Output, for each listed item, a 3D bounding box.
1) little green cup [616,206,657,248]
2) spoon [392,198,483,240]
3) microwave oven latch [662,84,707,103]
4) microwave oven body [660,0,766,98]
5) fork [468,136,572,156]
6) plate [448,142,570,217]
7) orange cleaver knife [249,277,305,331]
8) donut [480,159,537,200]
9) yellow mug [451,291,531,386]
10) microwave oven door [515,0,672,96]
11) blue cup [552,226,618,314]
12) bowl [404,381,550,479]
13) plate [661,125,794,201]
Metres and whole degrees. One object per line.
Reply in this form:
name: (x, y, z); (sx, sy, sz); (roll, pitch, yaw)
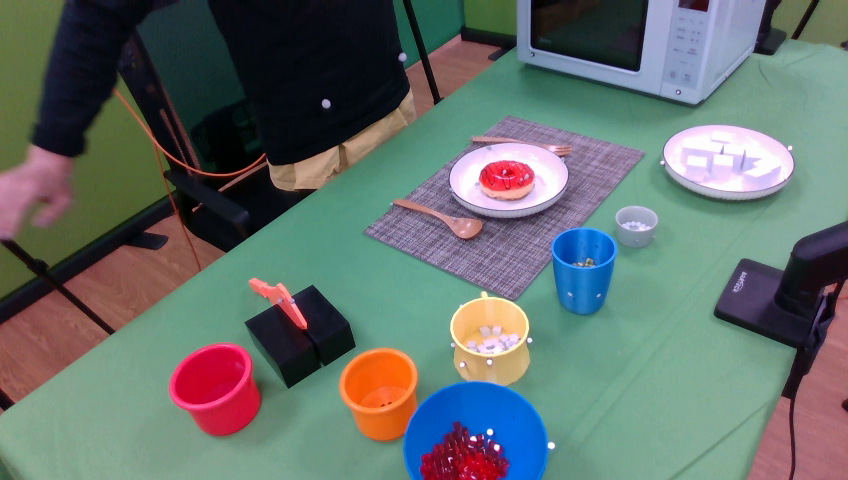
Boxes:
little green cup: (0.327, -0.019, 0.935); (0.061, 0.039, 0.061); (-4, 40, 4)
spoon: (0.018, -0.042, 1.015); (0.192, 0.022, 0.041); (24, 72, 31)
microwave oven latch: (0.517, -0.296, 1.204); (0.078, 0.029, 0.030); (27, 52, 35)
microwave oven body: (0.473, -0.513, 1.317); (0.438, 0.261, 0.327); (26, 51, 34)
fork: (0.181, -0.184, 1.160); (0.206, 0.019, 0.028); (13, 60, 21)
plate: (0.148, -0.101, 1.053); (0.209, 0.038, 0.208); (-4, 40, 4)
orange cleaver knife: (-0.210, 0.088, 0.856); (0.012, 0.077, 0.210); (-28, 15, -25)
donut: (0.145, -0.106, 1.042); (0.099, 0.048, 0.098); (-4, 38, 4)
yellow mug: (0.085, 0.120, 0.786); (0.100, 0.064, 0.130); (-7, 39, 1)
microwave oven door: (0.344, -0.455, 1.259); (0.353, 0.245, 0.039); (26, 51, 33)
blue cup: (0.218, 0.047, 0.826); (0.092, 0.100, 0.092); (-6, 40, 5)
bowl: (0.058, 0.235, 0.645); (0.151, 0.077, 0.150); (-4, 39, 4)
plate: (0.513, -0.128, 1.035); (0.207, 0.039, 0.206); (-4, 40, 4)
